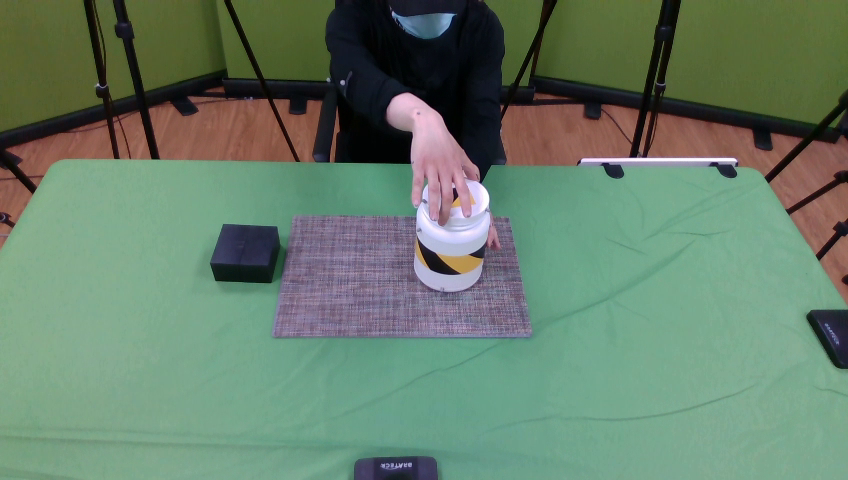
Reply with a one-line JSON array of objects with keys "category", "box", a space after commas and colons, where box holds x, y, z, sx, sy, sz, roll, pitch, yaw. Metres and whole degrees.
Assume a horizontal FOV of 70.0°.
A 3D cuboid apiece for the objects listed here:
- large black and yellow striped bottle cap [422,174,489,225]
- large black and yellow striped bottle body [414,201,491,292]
[{"category": "large black and yellow striped bottle cap", "box": [0.054, -0.071, 1.027, 0.115, 0.019, 0.114, 2, 45, -2]}, {"category": "large black and yellow striped bottle body", "box": [0.050, -0.010, 1.090, 0.131, 0.185, 0.130, 2, 46, -2]}]
